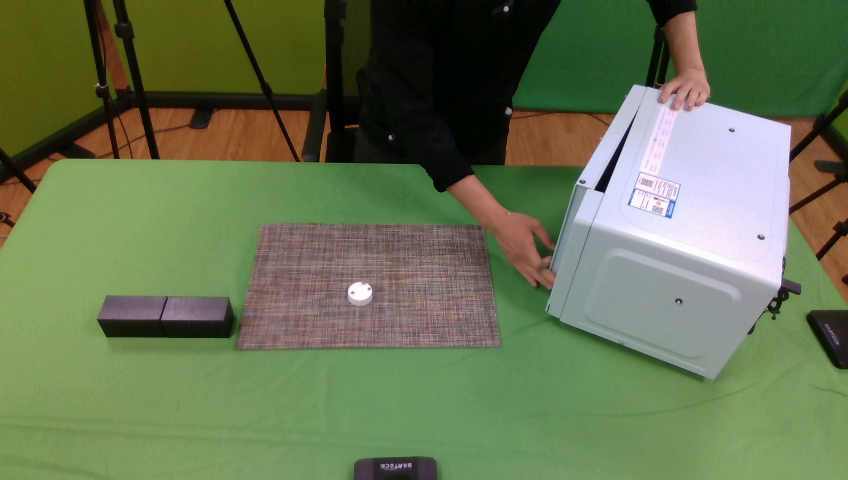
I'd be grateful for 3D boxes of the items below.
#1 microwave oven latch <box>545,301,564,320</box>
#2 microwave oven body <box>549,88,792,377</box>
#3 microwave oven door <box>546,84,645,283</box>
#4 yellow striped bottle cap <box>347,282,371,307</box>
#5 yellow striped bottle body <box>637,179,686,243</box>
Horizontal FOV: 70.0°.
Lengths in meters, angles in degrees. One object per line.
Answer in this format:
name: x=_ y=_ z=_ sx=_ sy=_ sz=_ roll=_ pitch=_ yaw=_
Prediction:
microwave oven latch: x=0.244 y=0.104 z=1.078 sx=0.030 sy=0.029 sz=0.079 roll=28 pitch=50 yaw=23
microwave oven body: x=0.455 y=-0.028 z=1.088 sx=0.325 sy=0.261 sz=0.440 roll=20 pitch=47 yaw=16
microwave oven door: x=0.332 y=-0.111 z=1.152 sx=0.039 sy=0.245 sz=0.355 roll=23 pitch=49 yaw=17
yellow striped bottle cap: x=-0.117 y=0.098 z=1.093 sx=0.044 sy=0.019 sz=0.044 roll=3 pitch=46 yaw=-3
yellow striped bottle body: x=0.443 y=-0.057 z=1.126 sx=0.063 sy=0.121 sz=0.062 roll=1 pitch=47 yaw=-1
